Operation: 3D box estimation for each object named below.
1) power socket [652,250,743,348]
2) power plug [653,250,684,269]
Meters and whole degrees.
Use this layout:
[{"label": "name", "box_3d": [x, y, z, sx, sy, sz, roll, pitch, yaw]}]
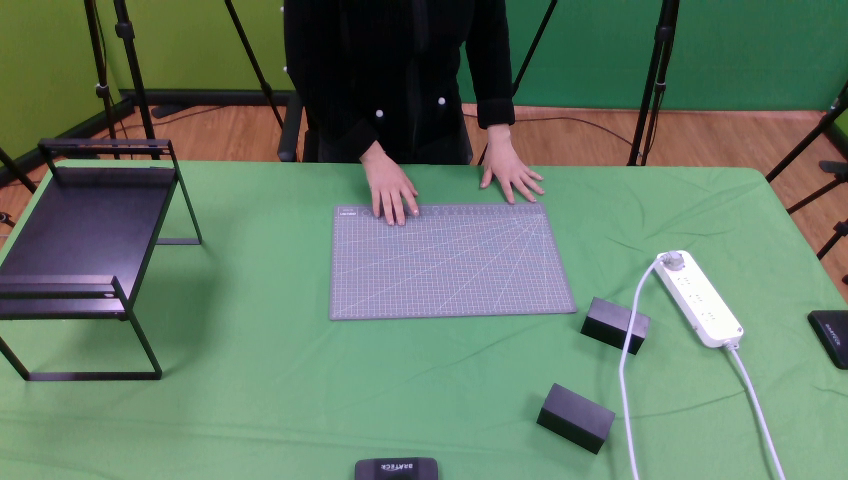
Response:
[{"label": "power socket", "box_3d": [0.503, 0.104, 1.127, 0.072, 0.033, 0.225, -8, 48, -11]}, {"label": "power plug", "box_3d": [0.459, 0.040, 1.155, 0.072, 0.053, 0.035, 0, 46, -4]}]
